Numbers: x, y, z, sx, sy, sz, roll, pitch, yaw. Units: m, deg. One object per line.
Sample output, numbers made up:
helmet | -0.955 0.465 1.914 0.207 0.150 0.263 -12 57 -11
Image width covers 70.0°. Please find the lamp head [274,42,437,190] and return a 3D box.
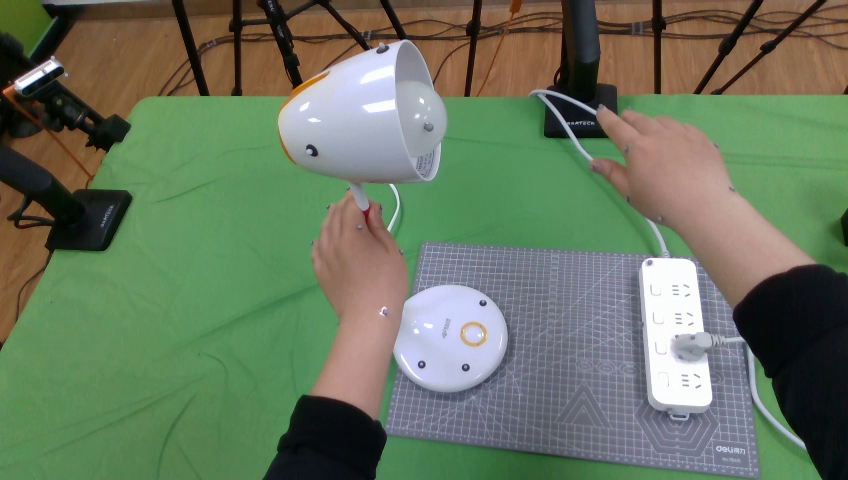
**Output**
lamp head | -0.058 -0.091 0.502 0.122 0.113 0.111 -11 54 21

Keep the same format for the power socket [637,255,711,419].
power socket | 0.322 0.117 0.790 0.072 0.033 0.225 2 57 9

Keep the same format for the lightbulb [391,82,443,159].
lightbulb | -0.037 -0.094 0.487 0.107 0.060 0.059 0 56 20

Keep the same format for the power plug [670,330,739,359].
power plug | 0.344 0.135 0.751 0.072 0.053 0.035 12 61 14

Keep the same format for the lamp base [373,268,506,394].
lamp base | 0.008 0.092 0.769 0.179 0.182 0.159 -3 56 11
